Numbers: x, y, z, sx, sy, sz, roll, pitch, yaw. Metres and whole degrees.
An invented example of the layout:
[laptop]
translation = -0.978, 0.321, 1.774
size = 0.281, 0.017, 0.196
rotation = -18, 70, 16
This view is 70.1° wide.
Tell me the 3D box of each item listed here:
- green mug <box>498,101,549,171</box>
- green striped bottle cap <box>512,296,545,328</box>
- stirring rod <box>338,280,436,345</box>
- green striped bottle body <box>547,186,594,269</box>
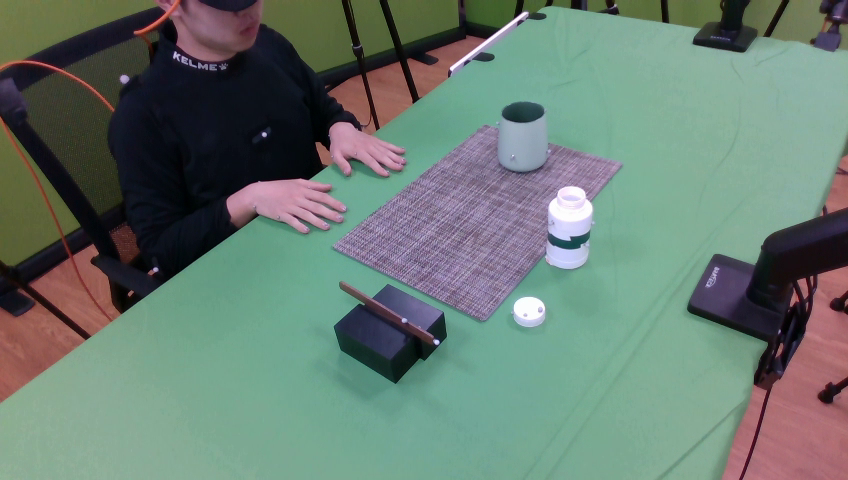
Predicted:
[green mug]
translation = 0.182, -0.197, 1.101
size = 0.092, 0.105, 0.125
rotation = 3, 42, 12
[green striped bottle cap]
translation = 0.144, 0.099, 0.837
size = 0.044, 0.020, 0.044
rotation = -2, 44, 2
[stirring rod]
translation = -0.053, 0.093, 0.795
size = 0.174, 0.014, 0.006
rotation = 26, 46, 33
[green striped bottle body]
translation = 0.214, -0.020, 0.886
size = 0.063, 0.120, 0.063
rotation = -4, 41, 4
